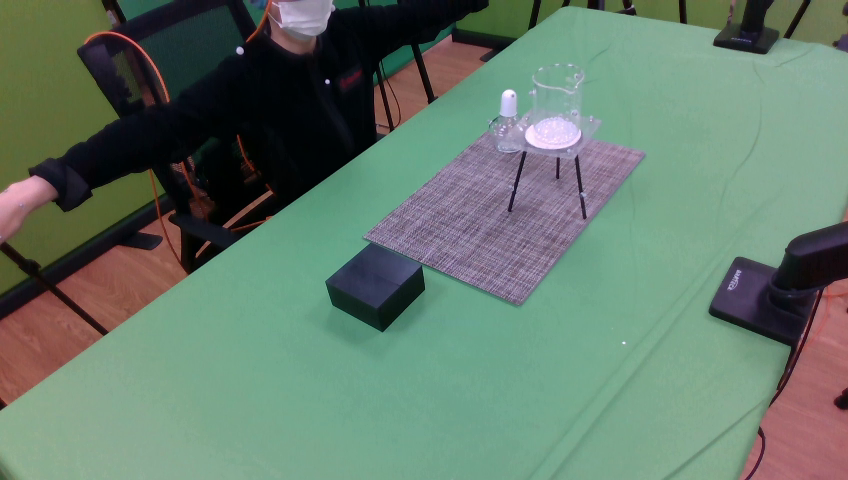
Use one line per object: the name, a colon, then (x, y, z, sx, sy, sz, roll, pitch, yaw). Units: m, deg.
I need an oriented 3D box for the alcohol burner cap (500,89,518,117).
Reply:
alcohol burner cap: (0.158, -0.254, 1.114, 0.034, 0.048, 0.033, -1, 38, 1)

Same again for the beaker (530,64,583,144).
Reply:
beaker: (0.201, -0.201, 0.909, 0.074, 0.101, 0.083, -19, 43, -10)

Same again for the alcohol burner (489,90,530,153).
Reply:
alcohol burner: (0.160, -0.226, 1.136, 0.078, 0.119, 0.077, -6, 41, 5)

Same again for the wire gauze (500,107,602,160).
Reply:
wire gauze: (0.199, -0.166, 0.945, 0.120, 0.011, 0.125, 17, 50, 28)

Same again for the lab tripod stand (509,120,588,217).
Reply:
lab tripod stand: (0.208, -0.114, 0.983, 0.148, 0.132, 0.147, -5, 42, 5)
